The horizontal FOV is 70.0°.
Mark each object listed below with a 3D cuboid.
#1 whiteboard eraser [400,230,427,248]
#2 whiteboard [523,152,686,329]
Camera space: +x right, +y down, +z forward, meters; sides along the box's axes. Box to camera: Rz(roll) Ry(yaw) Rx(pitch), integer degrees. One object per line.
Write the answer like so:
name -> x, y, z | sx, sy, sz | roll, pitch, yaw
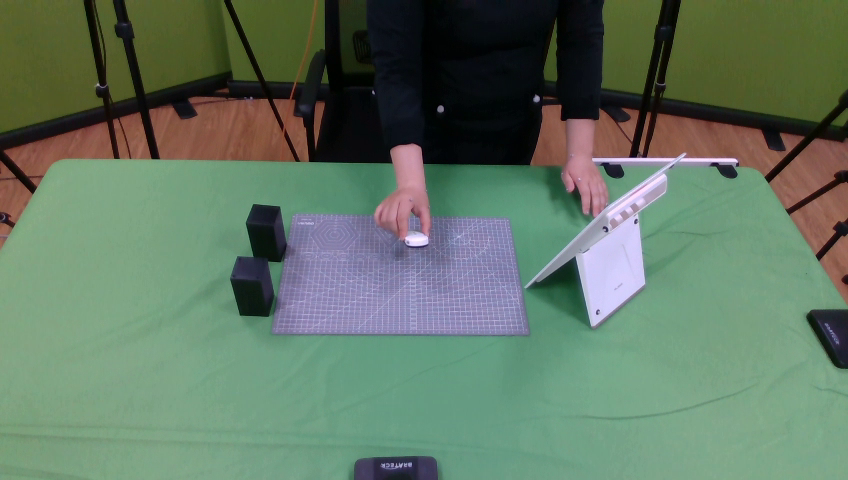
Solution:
whiteboard eraser -> -0.020, -0.003, 1.127 | 0.041, 0.019, 0.101 | -4, 12, -9
whiteboard -> 0.346, 0.024, 1.047 | 0.217, 0.306, 0.143 | -30, 74, -29
